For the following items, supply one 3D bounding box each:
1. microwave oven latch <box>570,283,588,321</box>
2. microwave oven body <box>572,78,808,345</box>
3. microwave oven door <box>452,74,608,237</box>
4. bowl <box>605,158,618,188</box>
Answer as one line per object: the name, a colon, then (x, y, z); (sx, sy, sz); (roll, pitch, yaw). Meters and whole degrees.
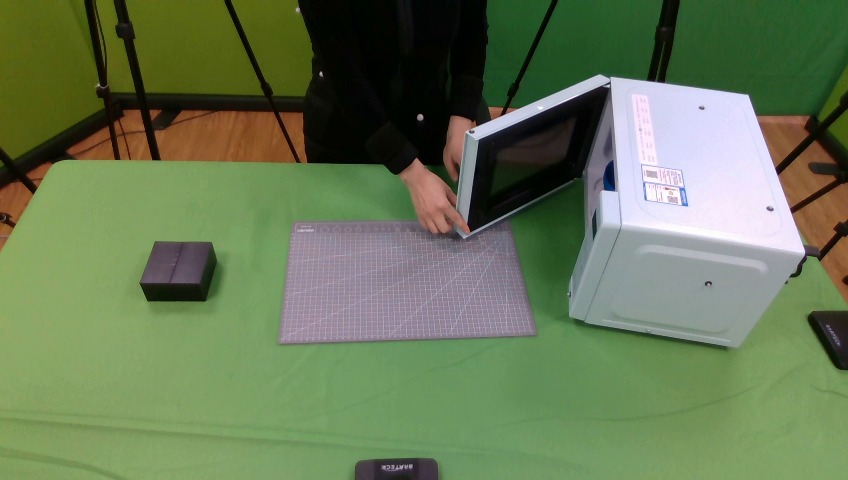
microwave oven latch: (0.276, 0.105, 1.082); (0.030, 0.029, 0.079); (10, 45, 7)
microwave oven body: (0.456, -0.063, 1.125); (0.326, 0.261, 0.439); (8, 45, 5)
microwave oven door: (0.212, -0.170, 1.201); (0.356, 0.245, 0.039); (-27, 54, -27)
bowl: (0.422, -0.093, 1.195); (0.151, 0.077, 0.150); (4, 48, -4)
